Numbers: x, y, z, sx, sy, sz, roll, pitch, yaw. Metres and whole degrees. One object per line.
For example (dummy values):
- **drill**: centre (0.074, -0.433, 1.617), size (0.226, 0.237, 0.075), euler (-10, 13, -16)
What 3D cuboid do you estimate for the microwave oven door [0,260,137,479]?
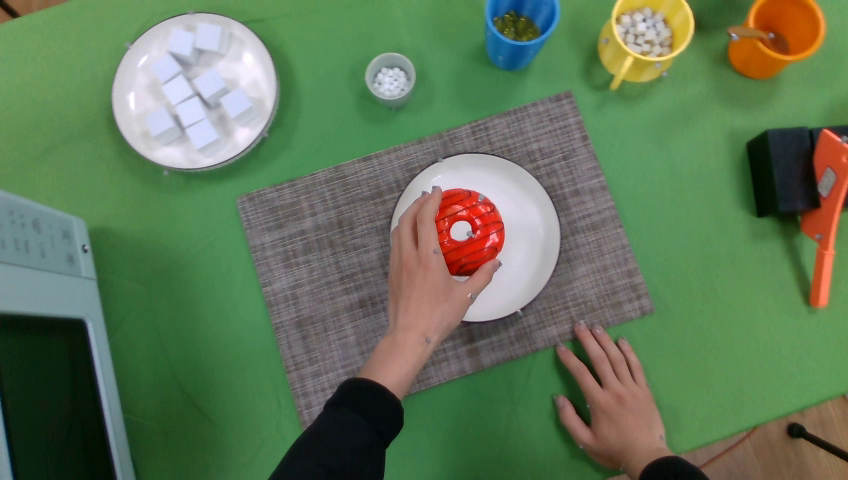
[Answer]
- **microwave oven door**: centre (-0.368, 0.196, 0.594), size (0.039, 0.244, 0.354), euler (-16, 82, -2)

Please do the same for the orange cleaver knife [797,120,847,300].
- **orange cleaver knife**: centre (0.466, -0.033, 0.718), size (0.012, 0.076, 0.212), euler (-4, 112, 2)

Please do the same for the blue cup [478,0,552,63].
- **blue cup**: centre (0.105, -0.265, 0.743), size (0.092, 0.100, 0.092), euler (0, 83, 0)

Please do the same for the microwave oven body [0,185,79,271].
- **microwave oven body**: centre (-0.520, 0.195, 0.601), size (0.326, 0.261, 0.440), euler (-15, 83, -2)

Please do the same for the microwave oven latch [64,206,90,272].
- **microwave oven latch**: centre (-0.424, 0.001, 0.723), size (0.030, 0.029, 0.079), euler (-14, 83, -2)

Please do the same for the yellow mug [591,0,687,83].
- **yellow mug**: centre (0.259, -0.254, 0.758), size (0.100, 0.064, 0.130), euler (29, 85, 4)

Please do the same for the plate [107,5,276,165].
- **plate**: centre (-0.289, -0.192, 0.767), size (0.208, 0.039, 0.207), euler (0, 82, 0)

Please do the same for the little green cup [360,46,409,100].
- **little green cup**: centre (-0.048, -0.209, 0.768), size (0.061, 0.039, 0.061), euler (0, 81, 1)

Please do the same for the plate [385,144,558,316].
- **plate**: centre (0.057, -0.011, 0.737), size (0.209, 0.038, 0.208), euler (0, 82, 0)

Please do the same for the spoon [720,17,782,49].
- **spoon**: centre (0.388, -0.250, 0.715), size (0.021, 0.194, 0.041), euler (-28, 79, 42)

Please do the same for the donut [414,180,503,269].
- **donut**: centre (0.037, -0.017, 0.662), size (0.099, 0.048, 0.099), euler (0, 90, 4)
